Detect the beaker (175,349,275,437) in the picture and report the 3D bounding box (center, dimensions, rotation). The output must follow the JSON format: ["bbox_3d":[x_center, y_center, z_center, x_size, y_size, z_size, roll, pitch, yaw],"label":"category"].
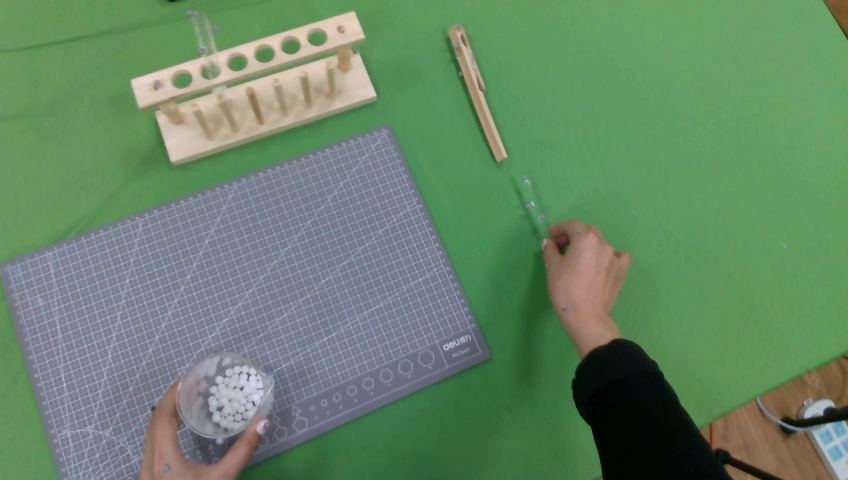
[{"bbox_3d":[-0.181,0.144,0.578,0.084,0.100,0.073,-13,77,-10],"label":"beaker"}]

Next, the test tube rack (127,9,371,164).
[{"bbox_3d":[-0.184,-0.168,0.673,0.242,0.085,0.066,-21,78,-9],"label":"test tube rack"}]

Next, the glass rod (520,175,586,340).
[{"bbox_3d":[0.144,0.019,0.685,0.008,0.008,0.199,-18,82,-9],"label":"glass rod"}]

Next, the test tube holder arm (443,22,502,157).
[{"bbox_3d":[0.058,-0.181,0.726,0.013,0.015,0.177,-10,76,-37],"label":"test tube holder arm"}]

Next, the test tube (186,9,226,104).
[{"bbox_3d":[-0.222,-0.182,0.622,0.017,0.151,0.017,3,71,-9],"label":"test tube"}]

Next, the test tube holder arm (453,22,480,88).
[{"bbox_3d":[0.049,-0.224,0.738,0.010,0.015,0.087,-9,76,-37],"label":"test tube holder arm"}]
